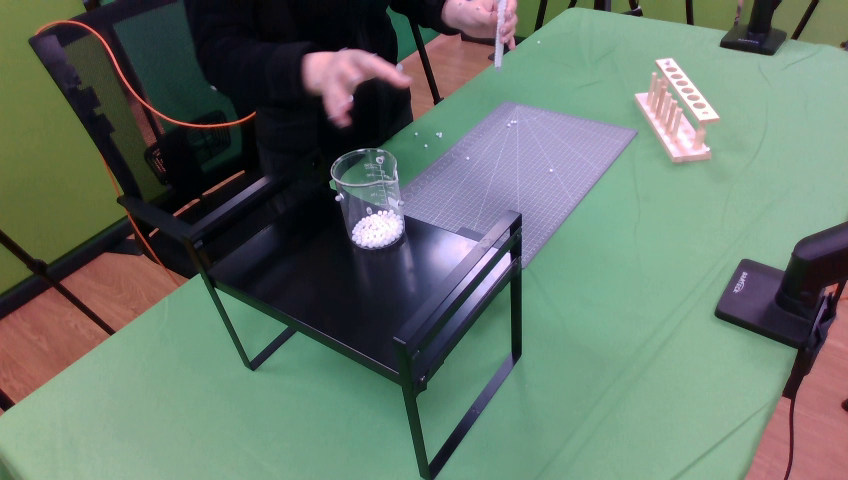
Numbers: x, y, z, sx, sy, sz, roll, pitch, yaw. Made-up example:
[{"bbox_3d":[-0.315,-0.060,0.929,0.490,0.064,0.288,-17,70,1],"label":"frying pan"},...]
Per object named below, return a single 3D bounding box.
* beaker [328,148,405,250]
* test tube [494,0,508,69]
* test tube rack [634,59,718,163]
[{"bbox_3d":[-0.060,-0.045,0.699,0.083,0.101,0.074,19,47,27],"label":"beaker"},{"bbox_3d":[0.125,-0.345,0.988,0.017,0.151,0.017,-1,52,2],"label":"test tube"},{"bbox_3d":[0.470,-0.250,1.148,0.067,0.085,0.241,-6,40,3],"label":"test tube rack"}]
